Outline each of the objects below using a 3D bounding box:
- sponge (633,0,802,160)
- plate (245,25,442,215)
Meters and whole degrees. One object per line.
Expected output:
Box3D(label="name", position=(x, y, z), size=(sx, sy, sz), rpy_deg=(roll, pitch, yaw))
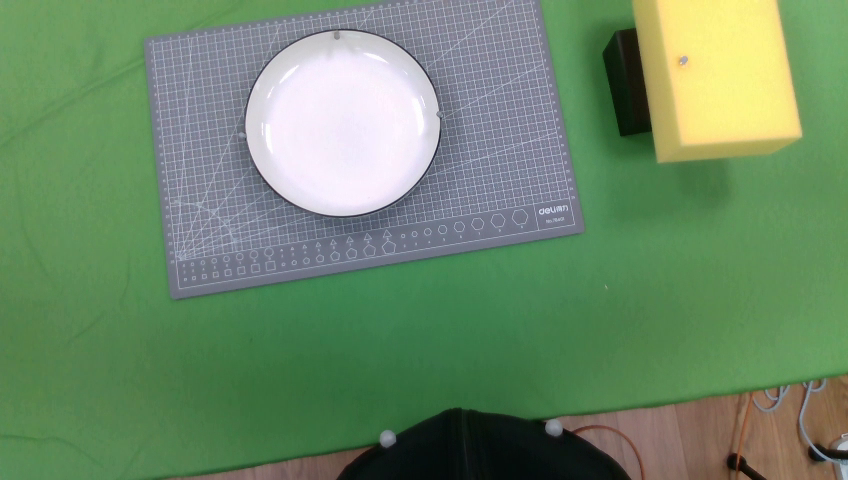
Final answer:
Box3D(label="sponge", position=(0.286, -0.191, 0.607), size=(0.118, 0.061, 0.206), rpy_deg=(-6, 82, -1))
Box3D(label="plate", position=(-0.085, -0.126, 0.654), size=(0.209, 0.038, 0.208), rpy_deg=(0, 82, 0))
